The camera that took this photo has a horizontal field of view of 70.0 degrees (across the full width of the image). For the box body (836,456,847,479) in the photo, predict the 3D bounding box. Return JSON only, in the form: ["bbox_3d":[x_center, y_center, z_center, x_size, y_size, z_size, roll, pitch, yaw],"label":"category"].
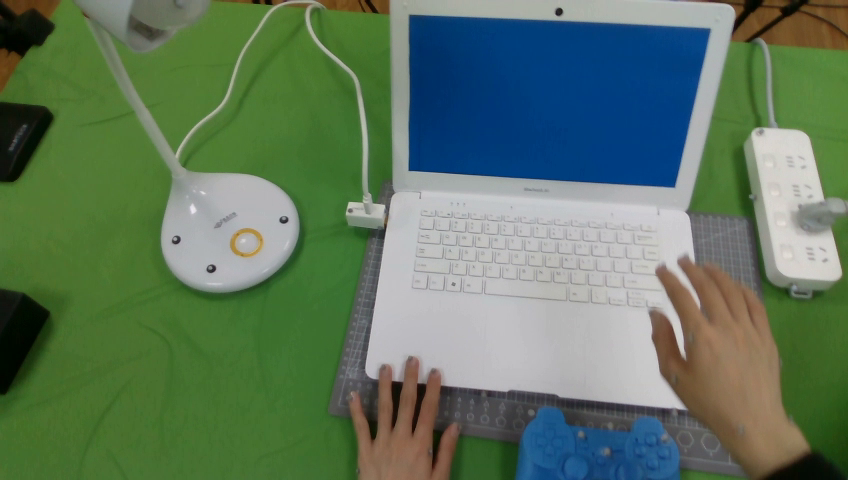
[{"bbox_3d":[0.571,0.159,0.520,0.252,0.162,0.363,37,68,20],"label":"box body"}]

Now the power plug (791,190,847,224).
[{"bbox_3d":[0.450,-0.029,0.677,0.072,0.053,0.035,16,62,9],"label":"power plug"}]

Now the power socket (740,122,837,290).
[{"bbox_3d":[0.425,-0.049,0.715,0.072,0.033,0.225,6,61,4],"label":"power socket"}]

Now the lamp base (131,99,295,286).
[{"bbox_3d":[-0.247,-0.061,0.660,0.178,0.182,0.160,31,66,21],"label":"lamp base"}]

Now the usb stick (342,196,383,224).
[{"bbox_3d":[-0.066,-0.035,0.717,0.059,0.027,0.021,8,56,3],"label":"usb stick"}]

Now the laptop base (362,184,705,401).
[{"bbox_3d":[0.120,0.050,0.678,0.354,0.023,0.233,4,65,4],"label":"laptop base"}]

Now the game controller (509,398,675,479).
[{"bbox_3d":[0.161,0.203,0.575,0.155,0.052,0.096,5,59,4],"label":"game controller"}]

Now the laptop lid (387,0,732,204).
[{"bbox_3d":[0.133,-0.153,0.674,0.356,0.243,0.013,2,30,5],"label":"laptop lid"}]

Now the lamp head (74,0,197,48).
[{"bbox_3d":[-0.207,-0.203,0.390,0.123,0.112,0.112,33,65,-7],"label":"lamp head"}]
